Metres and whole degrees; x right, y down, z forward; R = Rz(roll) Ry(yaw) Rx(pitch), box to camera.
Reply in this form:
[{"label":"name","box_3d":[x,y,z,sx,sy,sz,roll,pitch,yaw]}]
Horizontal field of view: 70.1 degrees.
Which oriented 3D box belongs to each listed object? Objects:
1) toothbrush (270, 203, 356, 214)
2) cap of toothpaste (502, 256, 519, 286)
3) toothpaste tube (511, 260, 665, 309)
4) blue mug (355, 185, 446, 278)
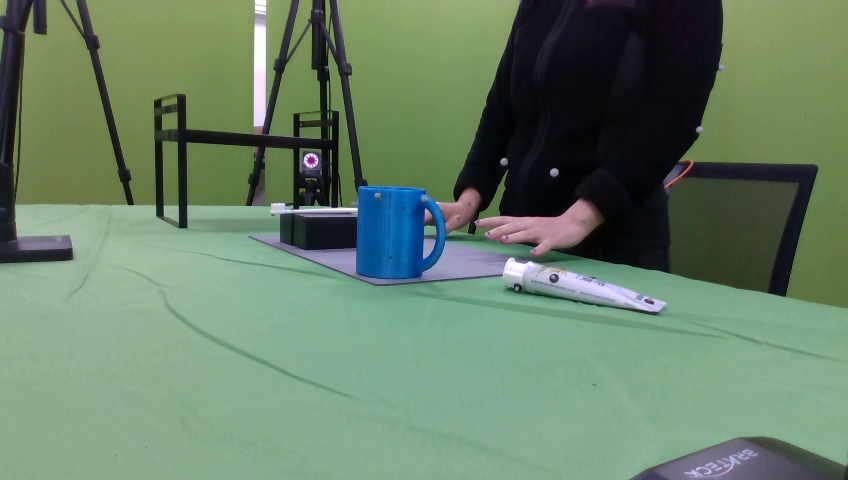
[{"label":"toothbrush","box_3d":[-0.156,-0.050,0.958,0.183,0.016,0.014,-2,2,-33]},{"label":"cap of toothpaste","box_3d":[0.100,0.036,0.681,0.011,0.037,0.037,11,11,28]},{"label":"toothpaste tube","box_3d":[0.166,0.049,0.642,0.164,0.034,0.055,10,15,28]},{"label":"blue mug","box_3d":[-0.027,-0.011,0.723,0.116,0.106,0.083,6,8,27]}]
